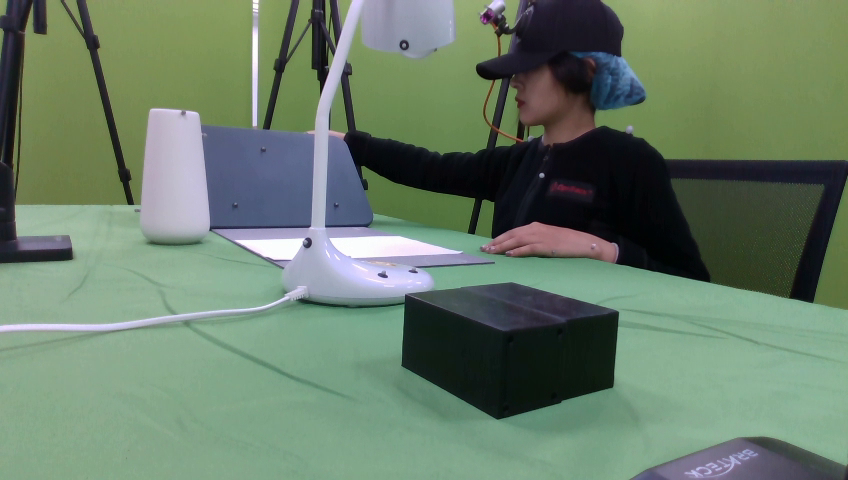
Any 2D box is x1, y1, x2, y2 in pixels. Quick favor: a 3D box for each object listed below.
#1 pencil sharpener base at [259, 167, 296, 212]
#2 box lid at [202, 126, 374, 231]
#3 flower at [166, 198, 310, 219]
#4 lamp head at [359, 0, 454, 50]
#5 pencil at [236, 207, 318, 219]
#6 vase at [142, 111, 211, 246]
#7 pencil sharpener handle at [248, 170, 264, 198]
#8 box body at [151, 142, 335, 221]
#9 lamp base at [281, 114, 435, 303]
[{"bbox_3d":[-0.358,-0.123,1.468,0.077,0.107,0.061,-2,8,-32],"label":"pencil sharpener base"},{"bbox_3d":[-0.296,-0.127,1.234,0.373,0.262,0.015,-2,-35,-32],"label":"box lid"},{"bbox_3d":[-0.399,-0.061,1.357,0.044,0.038,0.364,-36,-23,32],"label":"flower"},{"bbox_3d":[-0.024,-0.283,0.674,0.112,0.123,0.112,-3,38,3],"label":"lamp head"},{"bbox_3d":[-0.346,-0.062,1.434,0.194,0.012,0.012,7,7,-4],"label":"pencil"},{"bbox_3d":[-0.378,-0.093,0.920,0.098,0.200,0.098,2,9,0],"label":"vase"},{"bbox_3d":[-0.401,-0.134,1.440,0.031,0.067,0.036,-2,9,-32],"label":"pencil sharpener handle"},{"bbox_3d":[-0.413,-0.134,1.379,0.366,0.160,0.253,-2,9,-31],"label":"box body"},{"bbox_3d":[-0.071,-0.035,0.614,0.160,0.180,0.180,6,10,27],"label":"lamp base"}]
